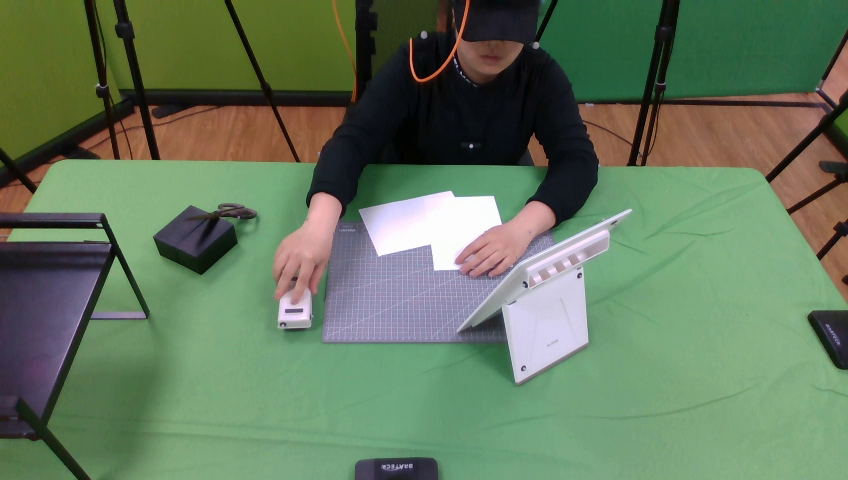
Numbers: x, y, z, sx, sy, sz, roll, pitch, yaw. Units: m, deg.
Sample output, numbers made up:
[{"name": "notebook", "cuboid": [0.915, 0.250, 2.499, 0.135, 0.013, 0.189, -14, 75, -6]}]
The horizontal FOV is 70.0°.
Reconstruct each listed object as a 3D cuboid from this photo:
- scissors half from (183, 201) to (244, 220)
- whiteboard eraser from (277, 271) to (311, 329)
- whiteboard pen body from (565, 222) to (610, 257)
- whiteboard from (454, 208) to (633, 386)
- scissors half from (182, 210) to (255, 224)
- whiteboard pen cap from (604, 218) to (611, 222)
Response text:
[{"name": "scissors half", "cuboid": [-0.405, -0.054, 1.163, 0.040, 0.013, 0.175, 29, 18, 7]}, {"name": "whiteboard eraser", "cuboid": [-0.227, 0.107, 1.062, 0.056, 0.042, 0.112, 1, 46, -10]}, {"name": "whiteboard pen body", "cuboid": [0.335, -0.004, 1.228, 0.141, 0.017, 0.017, -33, 56, -29]}, {"name": "whiteboard", "cuboid": [0.211, 0.111, 0.954, 0.217, 0.306, 0.143, -22, 72, -24]}, {"name": "scissors half", "cuboid": [-0.389, -0.043, 1.158, 0.040, 0.013, 0.175, 40, 21, 23]}, {"name": "whiteboard pen cap", "cuboid": [0.379, -0.031, 1.255, 0.033, 0.018, 0.018, -33, 56, -29]}]
